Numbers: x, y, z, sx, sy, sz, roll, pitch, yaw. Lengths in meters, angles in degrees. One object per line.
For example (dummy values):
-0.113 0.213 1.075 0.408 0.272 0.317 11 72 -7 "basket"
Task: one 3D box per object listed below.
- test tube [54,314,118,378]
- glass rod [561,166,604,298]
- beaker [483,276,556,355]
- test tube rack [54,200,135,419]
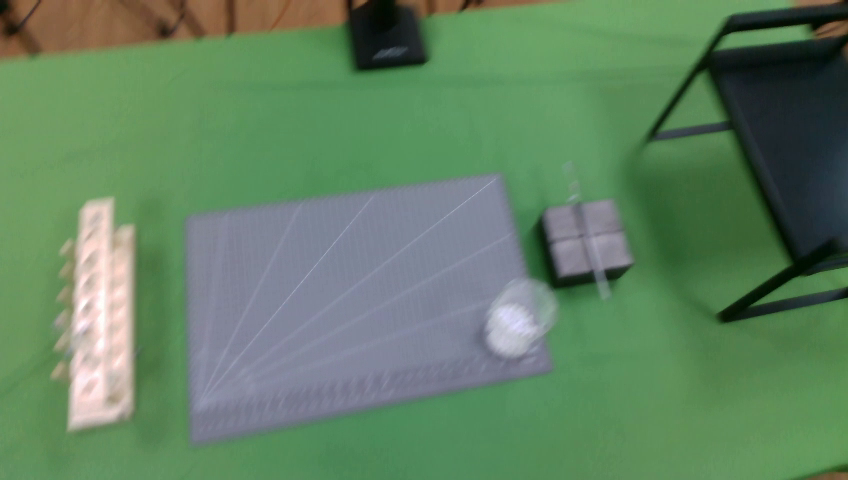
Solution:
-0.363 0.119 0.657 0.017 0.151 0.017 3 58 -5 "test tube"
0.212 -0.014 0.814 0.008 0.008 0.198 -7 66 -8 "glass rod"
0.112 0.098 0.753 0.084 0.101 0.073 -7 65 -7 "beaker"
-0.397 0.081 0.726 0.067 0.086 0.240 -9 66 -9 "test tube rack"
